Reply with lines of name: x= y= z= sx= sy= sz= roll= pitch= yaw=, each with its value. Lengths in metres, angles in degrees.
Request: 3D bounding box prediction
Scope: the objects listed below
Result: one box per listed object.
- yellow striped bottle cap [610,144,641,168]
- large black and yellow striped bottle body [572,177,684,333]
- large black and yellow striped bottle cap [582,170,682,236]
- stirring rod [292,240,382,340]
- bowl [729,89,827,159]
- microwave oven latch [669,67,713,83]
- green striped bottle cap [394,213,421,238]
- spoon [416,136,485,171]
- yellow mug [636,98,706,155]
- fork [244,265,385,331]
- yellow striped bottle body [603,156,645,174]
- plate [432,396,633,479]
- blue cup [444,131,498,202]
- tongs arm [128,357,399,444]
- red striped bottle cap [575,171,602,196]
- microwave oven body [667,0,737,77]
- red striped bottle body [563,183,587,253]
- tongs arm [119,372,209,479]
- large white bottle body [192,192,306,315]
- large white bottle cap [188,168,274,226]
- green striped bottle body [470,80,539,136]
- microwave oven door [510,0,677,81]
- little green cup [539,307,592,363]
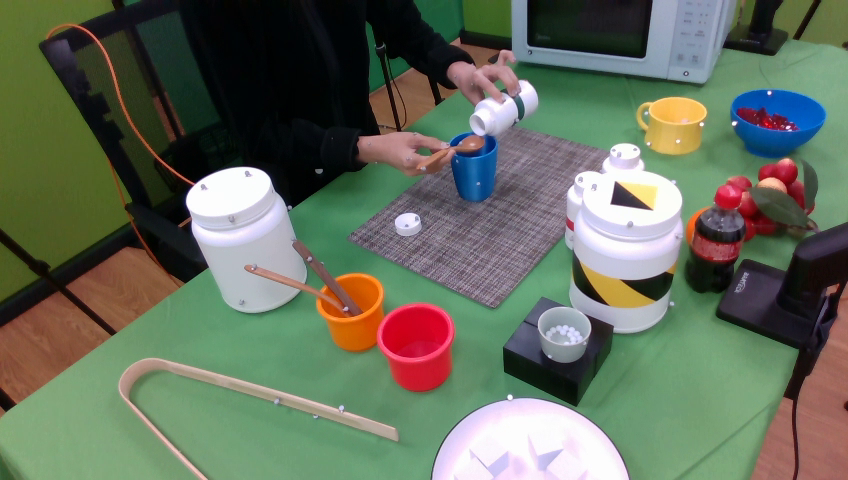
yellow striped bottle cap: x=0.307 y=-0.128 z=0.923 sx=0.044 sy=0.019 sz=0.044 roll=-6 pitch=39 yaw=5
large black and yellow striped bottle body: x=0.262 y=0.017 z=0.788 sx=0.131 sy=0.185 sz=0.130 roll=-5 pitch=40 yaw=4
large black and yellow striped bottle cap: x=0.252 y=-0.048 z=0.735 sx=0.115 sy=0.019 sz=0.114 roll=-3 pitch=40 yaw=3
stirring rod: x=-0.119 y=0.068 z=0.826 sx=0.176 sy=0.006 sz=0.014 roll=49 pitch=58 yaw=-4
bowl: x=0.615 y=-0.197 z=1.069 sx=0.151 sy=0.077 sz=0.150 roll=-5 pitch=40 yaw=5
microwave oven latch: x=0.556 y=-0.348 z=1.261 sx=0.078 sy=0.029 sz=0.030 roll=16 pitch=46 yaw=27
green striped bottle cap: x=-0.028 y=-0.025 z=1.010 sx=0.044 sy=0.020 sz=0.044 roll=-2 pitch=43 yaw=3
spoon: x=0.041 y=-0.137 z=0.947 sx=0.041 sy=0.021 sz=0.195 roll=21 pitch=28 yaw=27
yellow mug: x=0.453 y=-0.217 z=1.129 sx=0.100 sy=0.064 sz=0.129 roll=-34 pitch=46 yaw=-27
fork: x=-0.142 y=0.078 z=0.806 sx=0.209 sy=0.018 sz=0.028 roll=30 pitch=32 yaw=-23
yellow striped bottle body: x=0.313 y=-0.089 z=0.956 sx=0.063 sy=0.121 sz=0.062 roll=-5 pitch=40 yaw=4
plate: x=0.112 y=0.261 z=0.634 sx=0.209 sy=0.038 sz=0.208 roll=-5 pitch=40 yaw=4
blue cup: x=0.087 y=-0.122 z=1.040 sx=0.092 sy=0.100 sz=0.092 roll=-4 pitch=41 yaw=4
tongs arm: x=-0.213 y=0.205 z=0.755 sx=0.382 sy=0.026 sz=0.051 roll=12 pitch=46 yaw=23
red striped bottle cap: x=0.242 y=-0.081 z=0.876 sx=0.044 sy=0.018 sz=0.044 roll=-5 pitch=44 yaw=5
microwave oven body: x=0.462 y=-0.552 z=1.369 sx=0.439 sy=0.261 sz=0.326 roll=15 pitch=45 yaw=26
red striped bottle body: x=0.246 y=-0.041 z=0.910 sx=0.063 sy=0.120 sz=0.062 roll=-2 pitch=38 yaw=2
tongs arm: x=-0.258 y=0.257 z=0.700 sx=0.384 sy=0.028 sz=0.028 roll=24 pitch=55 yaw=34
large white bottle body: x=-0.256 y=0.004 z=0.885 sx=0.130 sy=0.185 sz=0.130 roll=-4 pitch=40 yaw=4
large white bottle cap: x=-0.264 y=-0.061 z=0.831 sx=0.115 sy=0.018 sz=0.114 roll=-4 pitch=40 yaw=4
green striped bottle body: x=0.133 y=-0.218 z=1.019 sx=0.119 sy=0.063 sz=0.062 roll=-34 pitch=46 yaw=-27
microwave oven door: x=0.354 y=-0.478 z=1.290 sx=0.353 sy=0.245 sz=0.039 roll=15 pitch=45 yaw=25
little green cup: x=0.168 y=0.115 z=0.721 sx=0.061 sy=0.039 sz=0.061 roll=-4 pitch=42 yaw=4
